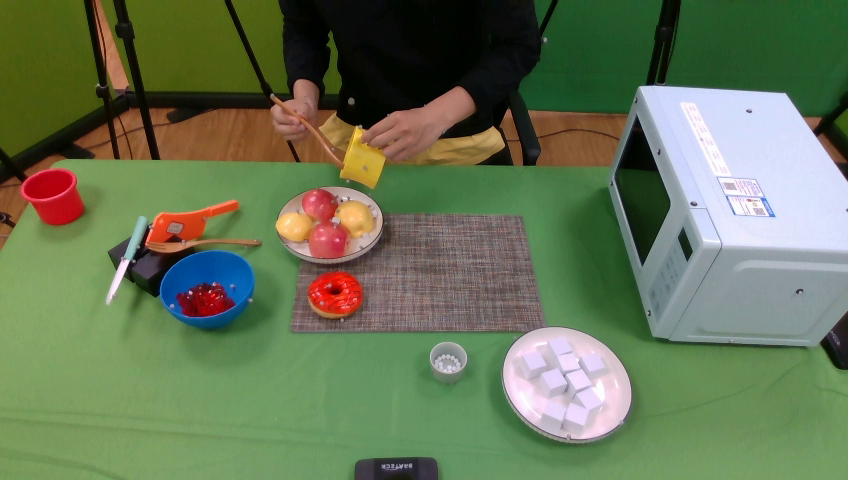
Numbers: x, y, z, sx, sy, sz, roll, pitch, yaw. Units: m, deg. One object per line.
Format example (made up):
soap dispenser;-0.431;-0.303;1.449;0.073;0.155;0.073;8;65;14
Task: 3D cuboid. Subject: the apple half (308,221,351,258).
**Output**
apple half;-0.180;-0.005;1.150;0.074;0.053;0.080;14;43;8

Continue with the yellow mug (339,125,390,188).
yellow mug;-0.104;-0.157;1.090;0.064;0.131;0.099;17;65;-13

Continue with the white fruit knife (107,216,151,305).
white fruit knife;-0.518;0.032;1.066;0.027;0.016;0.206;-18;45;19

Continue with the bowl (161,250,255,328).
bowl;-0.362;0.097;1.040;0.151;0.077;0.150;2;45;-2

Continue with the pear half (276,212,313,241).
pear half;-0.245;-0.035;1.178;0.070;0.031;0.088;40;42;2

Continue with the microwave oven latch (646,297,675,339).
microwave oven latch;0.412;0.134;1.061;0.030;0.029;0.078;4;45;1

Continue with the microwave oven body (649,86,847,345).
microwave oven body;0.568;-0.053;1.118;0.326;0.261;0.439;2;45;-1

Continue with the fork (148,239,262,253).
fork;-0.398;0.008;1.117;0.208;0.019;0.028;-5;34;-37

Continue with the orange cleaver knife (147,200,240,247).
orange cleaver knife;-0.435;-0.033;1.157;0.012;0.077;0.211;31;26;18

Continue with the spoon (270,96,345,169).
spoon;-0.195;-0.187;1.073;0.021;0.041;0.194;-45;101;-3

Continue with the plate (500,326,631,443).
plate;0.224;0.234;0.978;0.208;0.039;0.206;2;46;-2

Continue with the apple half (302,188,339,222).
apple half;-0.205;-0.076;1.217;0.081;0.033;0.081;18;47;-20

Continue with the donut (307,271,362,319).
donut;-0.157;0.097;1.072;0.099;0.048;0.098;4;45;-4

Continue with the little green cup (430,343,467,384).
little green cup;0.039;0.203;0.994;0.061;0.039;0.061;2;46;-2

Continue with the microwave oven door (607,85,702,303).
microwave oven door;0.423;-0.094;1.140;0.039;0.245;0.353;2;46;-1

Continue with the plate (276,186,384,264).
plate;-0.184;-0.027;1.194;0.209;0.038;0.208;2;46;-2

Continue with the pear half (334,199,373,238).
pear half;-0.147;-0.060;1.210;0.076;0.056;0.109;-16;44;-24
